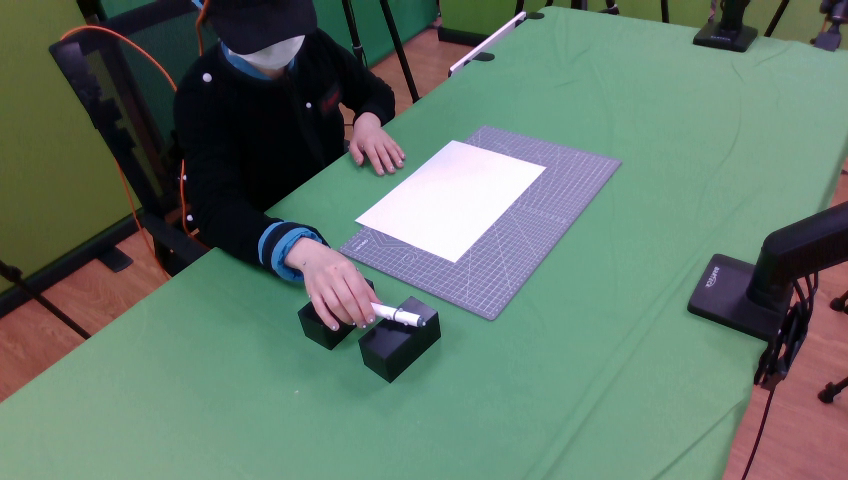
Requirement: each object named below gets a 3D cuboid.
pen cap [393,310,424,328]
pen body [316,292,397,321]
[{"bbox_3d":[-0.019,0.102,0.778,0.038,0.017,0.017,12,44,21],"label":"pen cap"},{"bbox_3d":[-0.078,0.089,0.801,0.143,0.017,0.017,11,44,19],"label":"pen body"}]
